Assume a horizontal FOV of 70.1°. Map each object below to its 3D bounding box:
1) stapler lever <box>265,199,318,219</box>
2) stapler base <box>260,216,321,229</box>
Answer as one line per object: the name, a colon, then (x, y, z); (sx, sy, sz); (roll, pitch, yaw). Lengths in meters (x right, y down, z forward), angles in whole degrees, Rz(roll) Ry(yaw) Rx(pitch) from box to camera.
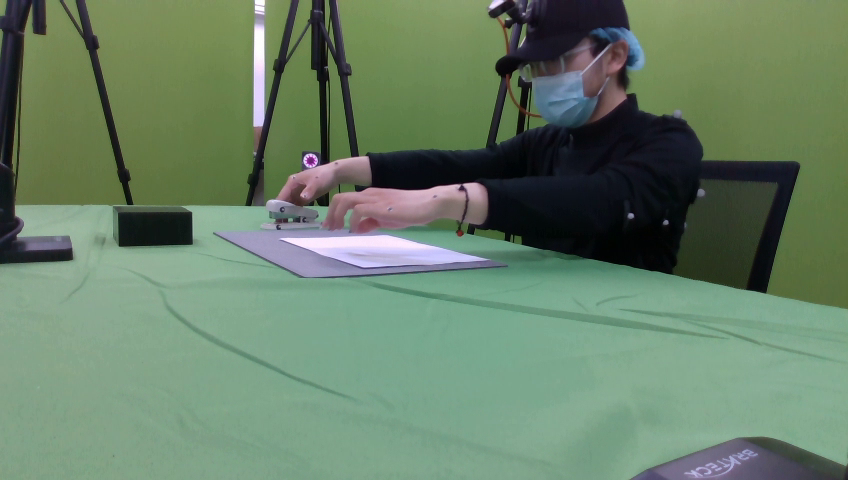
stapler lever: (-0.263, -0.061, 1.204); (0.026, 0.040, 0.119); (12, 10, 37)
stapler base: (-0.265, -0.037, 1.206); (0.041, 0.024, 0.131); (12, 9, 37)
